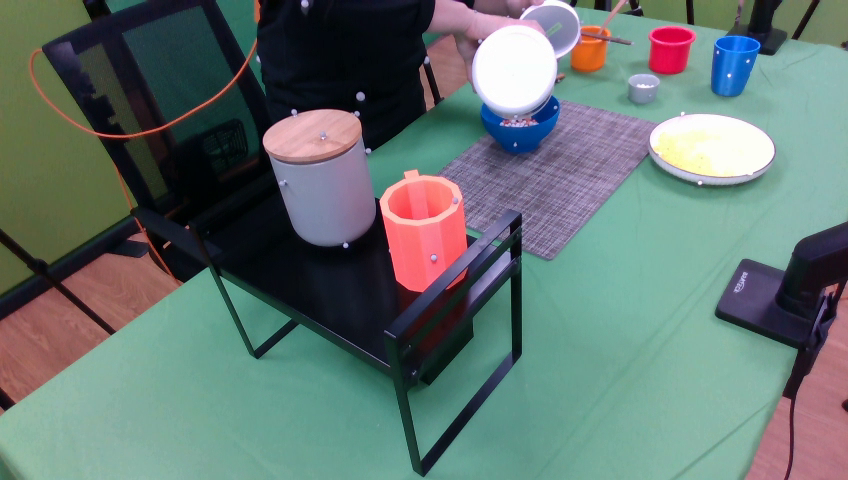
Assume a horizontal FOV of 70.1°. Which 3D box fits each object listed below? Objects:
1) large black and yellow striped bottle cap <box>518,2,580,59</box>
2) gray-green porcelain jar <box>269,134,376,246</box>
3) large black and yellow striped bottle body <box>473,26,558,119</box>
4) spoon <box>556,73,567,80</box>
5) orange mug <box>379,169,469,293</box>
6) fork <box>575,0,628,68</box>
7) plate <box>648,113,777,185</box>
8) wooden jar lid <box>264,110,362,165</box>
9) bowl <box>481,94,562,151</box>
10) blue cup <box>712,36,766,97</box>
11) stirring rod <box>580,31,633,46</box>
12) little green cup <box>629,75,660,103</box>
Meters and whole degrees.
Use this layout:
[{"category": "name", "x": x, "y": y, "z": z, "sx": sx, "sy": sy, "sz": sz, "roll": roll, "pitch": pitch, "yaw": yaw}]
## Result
[{"category": "large black and yellow striped bottle cap", "x": 0.229, "y": -0.383, "z": 1.117, "sx": 0.115, "sy": 0.115, "sz": 0.018, "roll": 0, "pitch": 53, "yaw": 9}, {"category": "gray-green porcelain jar", "x": -0.115, "y": -0.064, "z": 0.715, "sx": 0.106, "sy": 0.127, "sz": 0.105, "roll": -4, "pitch": 40, "yaw": 4}, {"category": "large black and yellow striped bottle body", "x": 0.155, "y": -0.272, "z": 1.011, "sx": 0.130, "sy": 0.131, "sz": 0.184, "roll": 1, "pitch": 7, "yaw": 11}, {"category": "spoon", "x": 0.250, "y": -0.337, "z": 1.332, "sx": 0.194, "sy": 0.022, "sz": 0.041, "roll": -32, "pitch": 32, "yaw": -25}, {"category": "orange mug", "x": -0.002, "y": -0.019, "z": 0.665, "sx": 0.083, "sy": 0.101, "sz": 0.125, "roll": -12, "pitch": 45, "yaw": -4}, {"category": "fork", "x": 0.413, "y": -0.481, "z": 1.377, "sx": 0.207, "sy": 0.019, "sz": 0.028, "roll": -57, "pitch": 43, "yaw": 12}, {"category": "plate", "x": 0.506, "y": -0.158, "z": 1.073, "sx": 0.209, "sy": 0.038, "sz": 0.208, "roll": -5, "pitch": 40, "yaw": 4}, {"category": "wooden jar lid", "x": -0.122, "y": -0.112, "z": 0.673, "sx": 0.108, "sy": 0.021, "sz": 0.108, "roll": -4, "pitch": 37, "yaw": 4}, {"category": "bowl", "x": 0.187, "y": -0.223, "z": 1.161, "sx": 0.151, "sy": 0.077, "sz": 0.150, "roll": -4, "pitch": 40, "yaw": 4}, {"category": "blue cup", "x": 0.627, "y": -0.350, "z": 1.227, "sx": 0.092, "sy": 0.100, "sz": 0.092, "roll": -4, "pitch": 39, "yaw": 4}, {"category": "stirring rod", "x": 0.382, "y": -0.453, "z": 1.345, "sx": 0.174, "sy": 0.006, "sz": 0.014, "roll": 27, "pitch": 53, "yaw": 33}, {"category": "little green cup", "x": 0.458, "y": -0.314, "z": 1.260, "sx": 0.061, "sy": 0.039, "sz": 0.061, "roll": -4, "pitch": 40, "yaw": 4}]
